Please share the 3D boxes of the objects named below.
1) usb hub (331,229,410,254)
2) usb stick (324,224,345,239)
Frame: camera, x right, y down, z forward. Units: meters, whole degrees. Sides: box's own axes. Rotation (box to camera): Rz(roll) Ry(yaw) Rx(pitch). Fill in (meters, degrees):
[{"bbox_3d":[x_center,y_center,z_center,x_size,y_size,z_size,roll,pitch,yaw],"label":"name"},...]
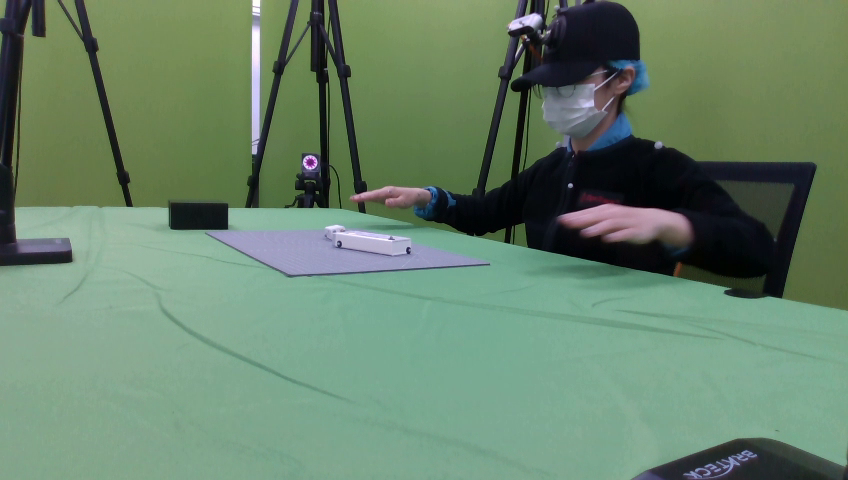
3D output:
[{"bbox_3d":[-0.085,0.001,0.945,0.124,0.025,0.050,7,9,35],"label":"usb hub"},{"bbox_3d":[-0.153,-0.015,1.051,0.027,0.021,0.059,-14,12,-25],"label":"usb stick"}]
